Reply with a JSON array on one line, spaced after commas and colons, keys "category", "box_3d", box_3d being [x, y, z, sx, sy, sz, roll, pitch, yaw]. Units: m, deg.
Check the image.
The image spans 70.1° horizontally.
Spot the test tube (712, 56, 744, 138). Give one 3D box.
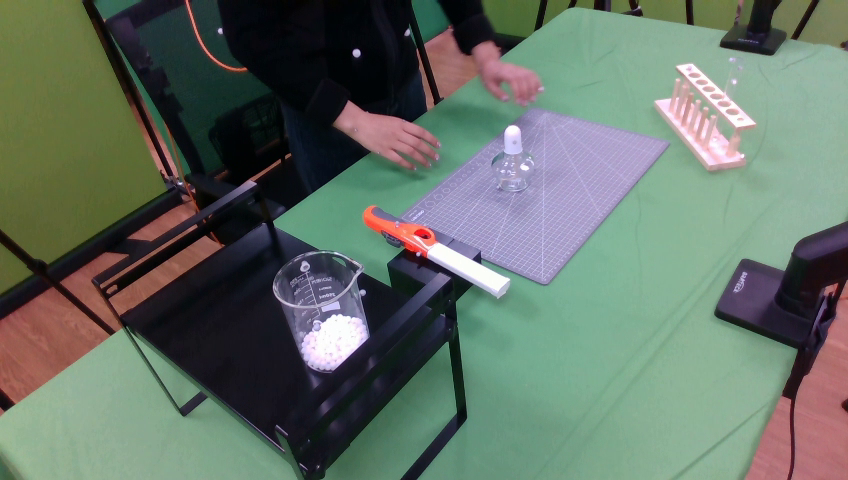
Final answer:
[{"category": "test tube", "box_3d": [0.530, -0.246, 1.056, 0.017, 0.151, 0.017, -1, 38, 1]}]

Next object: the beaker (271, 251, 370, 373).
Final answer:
[{"category": "beaker", "box_3d": [-0.090, 0.069, 0.571, 0.084, 0.101, 0.073, -19, 42, -13]}]

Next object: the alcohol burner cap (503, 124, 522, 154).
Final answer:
[{"category": "alcohol burner cap", "box_3d": [0.151, -0.173, 1.022, 0.034, 0.048, 0.033, -4, 36, 3]}]

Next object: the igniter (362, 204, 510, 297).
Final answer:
[{"category": "igniter", "box_3d": [0.006, 0.009, 0.887, 0.274, 0.025, 0.057, 29, 50, 32]}]

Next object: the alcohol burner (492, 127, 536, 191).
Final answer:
[{"category": "alcohol burner", "box_3d": [0.155, -0.146, 1.046, 0.078, 0.119, 0.077, -4, 43, 4]}]

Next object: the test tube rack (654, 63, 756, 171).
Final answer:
[{"category": "test tube rack", "box_3d": [0.510, -0.233, 1.120, 0.067, 0.085, 0.241, -8, 41, -1]}]
